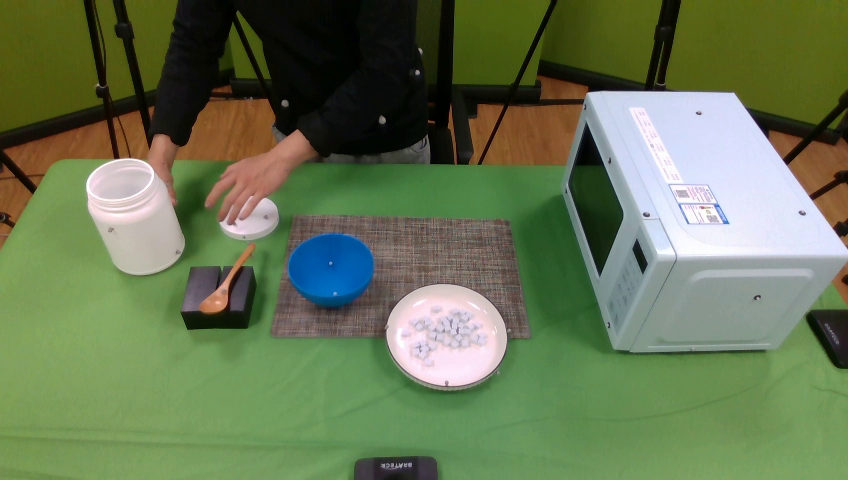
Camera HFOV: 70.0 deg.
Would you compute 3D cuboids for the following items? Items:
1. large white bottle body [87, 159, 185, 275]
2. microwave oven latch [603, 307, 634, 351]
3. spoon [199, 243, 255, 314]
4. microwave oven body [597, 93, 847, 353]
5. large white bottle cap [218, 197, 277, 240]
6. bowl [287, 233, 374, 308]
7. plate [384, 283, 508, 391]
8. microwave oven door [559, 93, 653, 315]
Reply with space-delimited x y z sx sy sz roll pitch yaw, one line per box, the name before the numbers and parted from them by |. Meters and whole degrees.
large white bottle body | -0.513 -0.041 1.083 0.131 0.185 0.130 3 47 -3
microwave oven latch | 0.332 0.153 1.044 0.030 0.029 0.078 0 45 -4
spoon | -0.333 0.063 1.051 0.041 0.022 0.193 7 41 8
microwave oven body | 0.475 -0.041 1.109 0.326 0.261 0.438 -1 45 -4
large white bottle cap | -0.354 -0.045 1.220 0.115 0.018 0.114 2 45 -2
bowl | -0.165 0.068 1.078 0.151 0.077 0.150 3 46 -3
plate | 0.036 0.166 1.029 0.209 0.038 0.208 2 49 -2
microwave oven door | 0.327 -0.074 1.123 0.039 0.245 0.353 -1 46 -5
